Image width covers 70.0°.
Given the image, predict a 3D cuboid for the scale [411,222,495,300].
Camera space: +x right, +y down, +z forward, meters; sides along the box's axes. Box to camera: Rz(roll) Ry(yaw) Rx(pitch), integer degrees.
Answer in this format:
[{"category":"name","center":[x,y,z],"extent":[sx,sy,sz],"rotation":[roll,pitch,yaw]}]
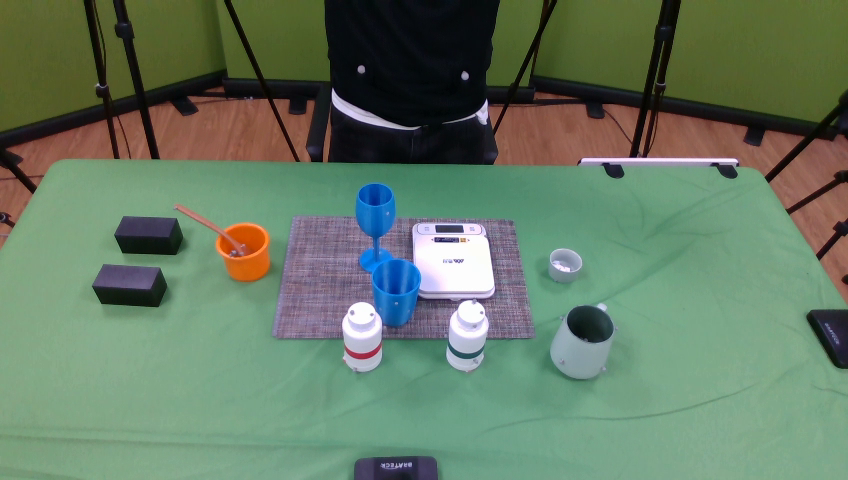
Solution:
[{"category":"scale","center":[0.052,0.031,1.158],"extent":[0.149,0.032,0.199],"rotation":[1,46,-4]}]

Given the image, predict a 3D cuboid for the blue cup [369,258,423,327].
[{"category":"blue cup","center":[-0.051,0.097,1.039],"extent":[0.093,0.101,0.092],"rotation":[3,43,-2]}]

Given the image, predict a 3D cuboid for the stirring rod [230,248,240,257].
[{"category":"stirring rod","center":[-0.330,0.023,1.059],"extent":[0.014,0.176,0.006],"rotation":[33,79,-11]}]

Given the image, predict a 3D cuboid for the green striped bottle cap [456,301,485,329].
[{"category":"green striped bottle cap","center":[0.073,0.116,0.943],"extent":[0.044,0.020,0.044],"rotation":[3,46,-3]}]

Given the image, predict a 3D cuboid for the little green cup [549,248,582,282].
[{"category":"little green cup","center":[0.268,0.050,1.156],"extent":[0.061,0.039,0.061],"rotation":[2,46,-1]}]

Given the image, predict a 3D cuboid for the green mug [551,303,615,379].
[{"category":"green mug","center":[0.271,0.157,1.007],"extent":[0.092,0.105,0.125],"rotation":[27,50,21]}]

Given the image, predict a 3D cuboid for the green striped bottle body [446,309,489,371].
[{"category":"green striped bottle body","center":[0.070,0.155,0.984],"extent":[0.063,0.120,0.063],"rotation":[2,46,-2]}]

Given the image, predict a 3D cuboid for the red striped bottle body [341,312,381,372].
[{"category":"red striped bottle body","center":[-0.100,0.154,0.972],"extent":[0.063,0.120,0.062],"rotation":[2,46,-2]}]

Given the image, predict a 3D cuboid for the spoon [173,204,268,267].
[{"category":"spoon","center":[-0.363,-0.009,1.089],"extent":[0.021,0.195,0.041],"rotation":[-35,31,23]}]

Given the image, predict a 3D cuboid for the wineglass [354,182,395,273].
[{"category":"wineglass","center":[-0.089,-0.020,1.098],"extent":[0.074,0.173,0.073],"rotation":[2,46,-2]}]

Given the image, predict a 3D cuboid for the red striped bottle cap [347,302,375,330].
[{"category":"red striped bottle cap","center":[-0.097,0.116,0.934],"extent":[0.044,0.018,0.044],"rotation":[3,48,-3]}]
